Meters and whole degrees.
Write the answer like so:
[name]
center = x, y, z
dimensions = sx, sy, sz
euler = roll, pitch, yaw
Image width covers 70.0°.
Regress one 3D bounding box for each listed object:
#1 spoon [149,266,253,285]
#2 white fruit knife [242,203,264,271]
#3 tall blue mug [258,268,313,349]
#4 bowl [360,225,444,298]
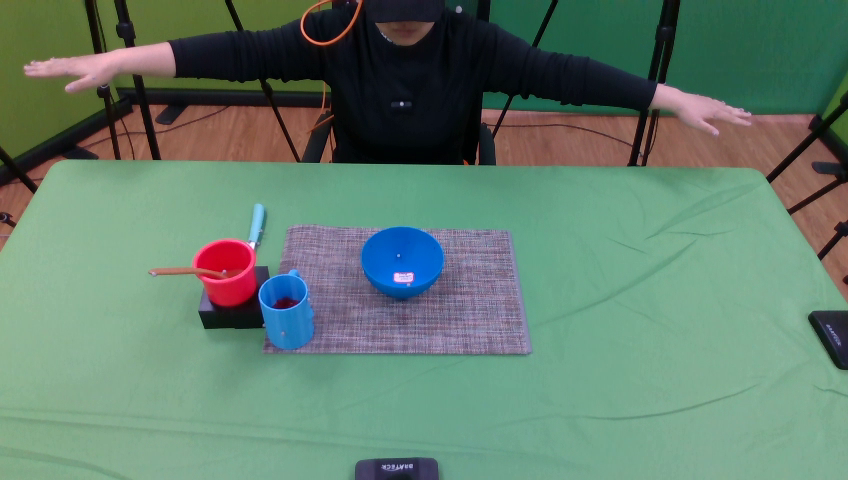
[spoon]
center = -0.351, 0.052, 0.968
dimensions = 0.041, 0.021, 0.194
euler = 41, 12, 28
[white fruit knife]
center = -0.334, 0.000, 1.178
dimensions = 0.027, 0.016, 0.206
euler = -18, 46, 16
[tall blue mug]
center = -0.232, 0.108, 1.010
dimensions = 0.078, 0.108, 0.106
euler = -15, 49, -17
[bowl]
center = -0.040, 0.053, 1.099
dimensions = 0.151, 0.077, 0.150
euler = 2, 46, -2
